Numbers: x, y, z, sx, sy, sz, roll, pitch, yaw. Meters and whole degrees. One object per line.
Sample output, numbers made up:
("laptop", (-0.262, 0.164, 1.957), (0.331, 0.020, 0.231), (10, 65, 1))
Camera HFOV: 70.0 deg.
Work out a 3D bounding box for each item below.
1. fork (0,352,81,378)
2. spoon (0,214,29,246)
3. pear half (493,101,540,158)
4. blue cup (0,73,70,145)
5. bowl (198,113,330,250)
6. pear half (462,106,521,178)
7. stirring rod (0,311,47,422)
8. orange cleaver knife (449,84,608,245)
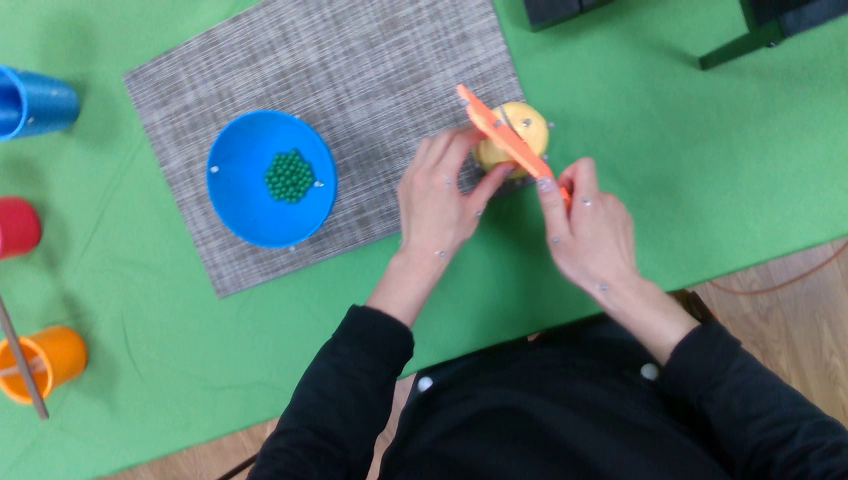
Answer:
("fork", (-0.568, 0.178, 0.793), (0.208, 0.018, 0.028), (-9, 114, -31))
("spoon", (-0.614, 0.008, 0.771), (0.194, 0.021, 0.042), (-20, 100, -29))
("pear half", (0.101, -0.120, 0.625), (0.031, 0.088, 0.070), (-42, 88, 12))
("blue cup", (-0.489, -0.159, 0.732), (0.092, 0.100, 0.093), (2, 102, 9))
("bowl", (-0.169, -0.069, 0.695), (0.151, 0.076, 0.152), (2, 102, 11))
("pear half", (0.068, -0.095, 0.626), (0.056, 0.110, 0.076), (-39, 88, 13))
("stirring rod", (-0.524, 0.153, 0.777), (0.014, 0.006, 0.176), (-16, 99, 11))
("orange cleaver knife", (0.101, -0.070, 0.577), (0.213, 0.076, 0.012), (38, 115, -23))
